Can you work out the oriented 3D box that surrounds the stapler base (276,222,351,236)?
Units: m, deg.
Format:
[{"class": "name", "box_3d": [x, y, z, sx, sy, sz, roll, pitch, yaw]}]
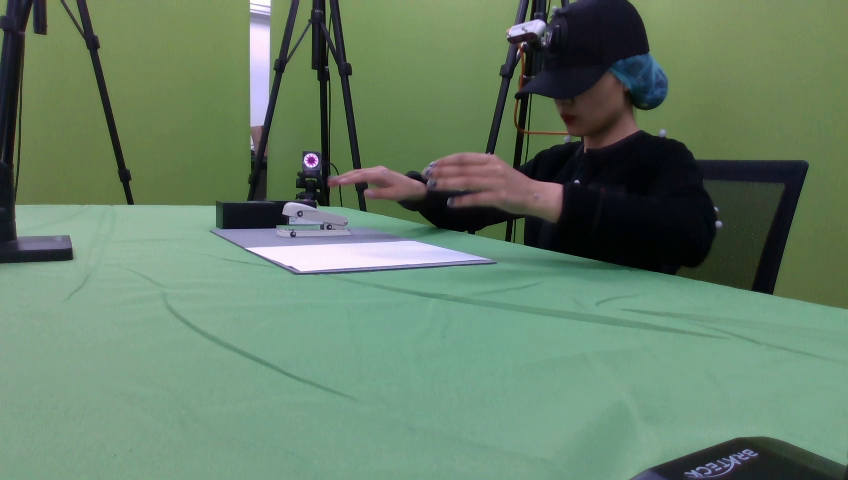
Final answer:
[{"class": "stapler base", "box_3d": [-0.195, -0.020, 1.075, 0.131, 0.024, 0.041, 0, 10, -33]}]

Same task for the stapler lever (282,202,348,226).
[{"class": "stapler lever", "box_3d": [-0.193, -0.045, 1.073, 0.119, 0.040, 0.026, 0, 10, -33]}]
